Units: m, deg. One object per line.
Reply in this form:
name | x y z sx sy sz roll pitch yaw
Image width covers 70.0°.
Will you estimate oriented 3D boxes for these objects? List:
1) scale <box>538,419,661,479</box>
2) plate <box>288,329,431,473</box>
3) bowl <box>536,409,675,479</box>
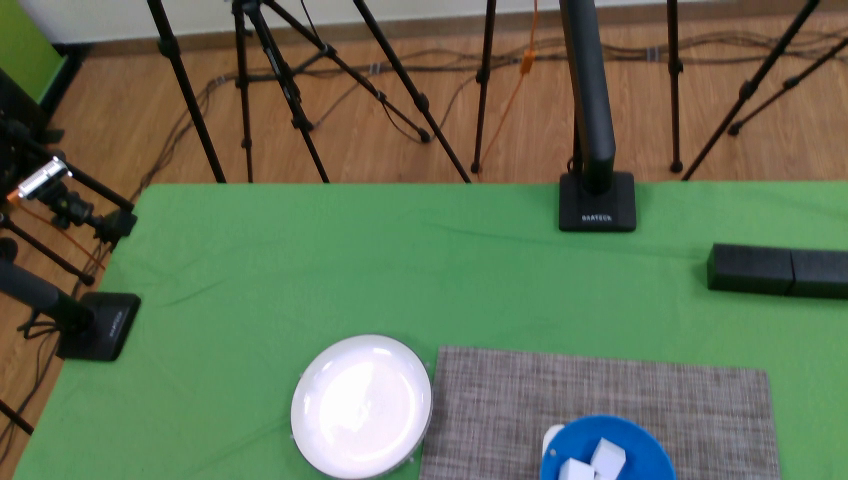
scale | 0.214 0.327 0.745 0.148 0.032 0.199 3 59 14
plate | -0.090 0.230 0.871 0.207 0.039 0.205 -5 57 8
bowl | 0.208 0.282 0.710 0.151 0.077 0.150 -5 58 8
